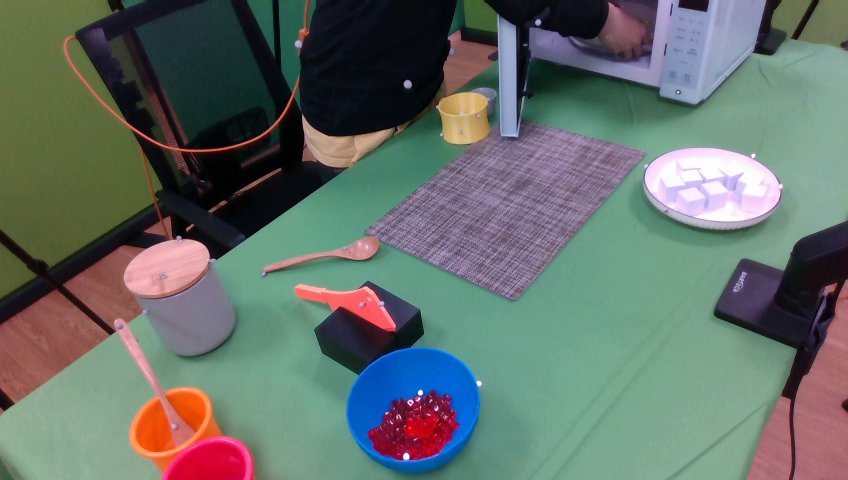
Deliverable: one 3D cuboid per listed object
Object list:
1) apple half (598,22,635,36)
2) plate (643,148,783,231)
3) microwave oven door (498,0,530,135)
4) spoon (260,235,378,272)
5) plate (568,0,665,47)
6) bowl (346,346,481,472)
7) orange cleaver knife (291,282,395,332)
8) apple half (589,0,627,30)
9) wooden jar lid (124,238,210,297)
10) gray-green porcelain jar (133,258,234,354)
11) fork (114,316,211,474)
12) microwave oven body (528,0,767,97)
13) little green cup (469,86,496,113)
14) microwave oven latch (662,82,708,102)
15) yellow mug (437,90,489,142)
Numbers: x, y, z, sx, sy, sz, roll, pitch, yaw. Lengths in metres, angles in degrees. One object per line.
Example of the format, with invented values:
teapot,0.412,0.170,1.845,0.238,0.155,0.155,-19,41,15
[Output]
apple half,0.418,-0.459,1.324,0.081,0.033,0.081,-9,33,6
plate,0.465,-0.080,0.986,0.207,0.039,0.206,-4,40,4
microwave oven door,0.186,-0.411,1.225,0.039,0.245,0.355,3,42,12
spoon,-0.168,0.024,0.966,0.194,0.022,0.041,-10,58,-3
plate,0.431,-0.485,1.364,0.209,0.038,0.208,-4,41,4
bowl,-0.008,0.205,0.691,0.151,0.077,0.150,-4,40,4
orange cleaver knife,-0.116,0.091,0.835,0.209,0.077,0.012,1,32,47
apple half,0.418,-0.519,1.378,0.081,0.053,0.074,-35,35,-22
wooden jar lid,-0.335,0.038,0.795,0.108,0.021,0.108,-2,40,2
gray-green porcelain jar,-0.328,0.087,0.837,0.106,0.127,0.105,-4,41,4
fork,-0.309,0.179,0.708,0.028,0.018,0.207,-30,89,-23
microwave oven body,0.473,-0.516,1.313,0.438,0.261,0.327,26,51,34
little green cup,0.123,-0.298,1.285,0.061,0.039,0.061,-4,41,4
microwave oven latch,0.518,-0.298,1.202,0.078,0.029,0.030,28,53,35
yellow mug,0.069,-0.257,1.225,0.100,0.064,0.129,-33,44,-27
